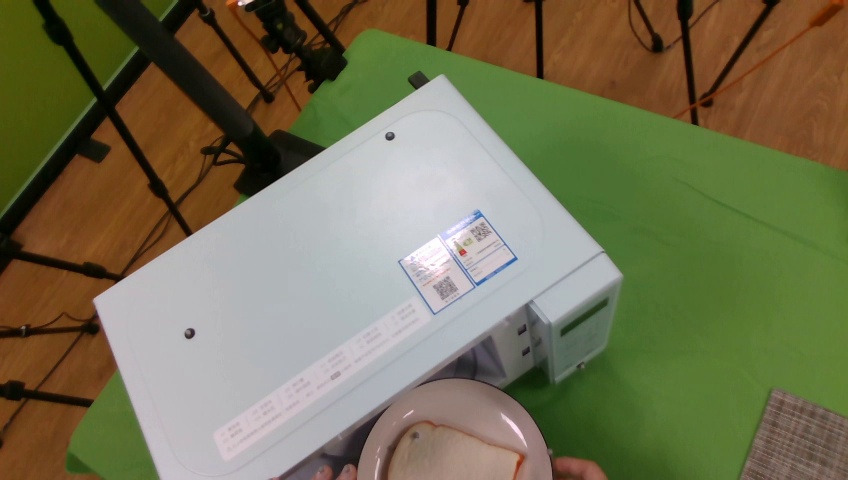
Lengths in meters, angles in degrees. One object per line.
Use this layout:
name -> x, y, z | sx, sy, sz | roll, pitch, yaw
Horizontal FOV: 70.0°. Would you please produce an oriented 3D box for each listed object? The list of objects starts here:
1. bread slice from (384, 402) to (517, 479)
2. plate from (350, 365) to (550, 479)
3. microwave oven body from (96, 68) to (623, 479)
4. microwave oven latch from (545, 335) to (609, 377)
bread slice -> 0.022, 0.235, 0.647 | 0.131, 0.019, 0.104 | 23, 62, 16
plate -> 0.027, 0.236, 0.639 | 0.207, 0.039, 0.205 | -4, 56, 7
microwave oven body -> -0.062, 0.082, 0.687 | 0.442, 0.262, 0.323 | -35, 63, -4
microwave oven latch -> 0.182, 0.128, 0.720 | 0.079, 0.030, 0.030 | -33, 63, -3
